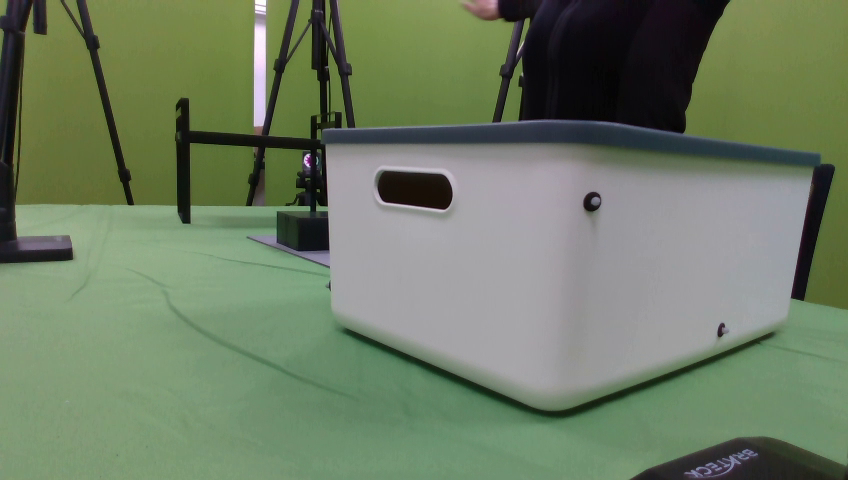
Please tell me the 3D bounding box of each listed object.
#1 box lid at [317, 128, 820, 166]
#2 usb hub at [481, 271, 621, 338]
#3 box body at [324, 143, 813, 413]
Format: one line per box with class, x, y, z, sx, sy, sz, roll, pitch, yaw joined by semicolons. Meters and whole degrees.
box lid;0.129;-0.074;0.501;0.374;0.015;0.262;-4;11;-40
usb hub;0.112;0.053;0.526;0.126;0.025;0.049;-10;16;-33
box body;0.125;0.000;0.510;0.366;0.160;0.253;-4;9;-40
